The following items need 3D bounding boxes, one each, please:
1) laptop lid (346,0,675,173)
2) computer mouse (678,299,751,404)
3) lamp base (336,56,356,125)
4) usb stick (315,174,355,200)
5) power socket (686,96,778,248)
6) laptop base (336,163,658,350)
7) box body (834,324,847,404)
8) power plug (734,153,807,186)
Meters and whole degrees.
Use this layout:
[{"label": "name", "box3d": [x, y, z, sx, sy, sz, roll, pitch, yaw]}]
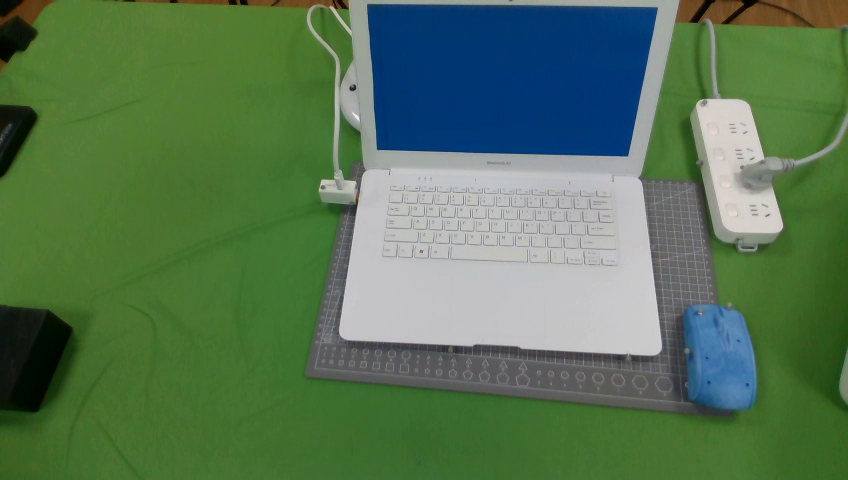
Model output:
[{"label": "laptop lid", "box3d": [0.090, -0.182, 0.705, 0.356, 0.244, 0.013, 1, 37, 4]}, {"label": "computer mouse", "box3d": [0.305, 0.114, 0.637, 0.062, 0.041, 0.116, 6, 56, 8]}, {"label": "lamp base", "box3d": [-0.055, -0.260, 0.789, 0.160, 0.182, 0.177, -31, 60, -15]}, {"label": "usb stick", "box3d": [-0.104, -0.065, 0.757, 0.059, 0.027, 0.021, 6, 55, 4]}, {"label": "power socket", "box3d": [0.383, -0.095, 0.760, 0.072, 0.033, 0.225, 3, 60, 2]}, {"label": "laptop base", "box3d": [0.084, 0.014, 0.718, 0.354, 0.023, 0.233, 2, 63, 4]}, {"label": "box body", "box3d": [0.597, 0.045, 0.595, 0.253, 0.162, 0.362, 26, 64, 16]}, {"label": "power plug", "box3d": [0.409, -0.077, 0.722, 0.072, 0.053, 0.035, 12, 60, 7]}]
